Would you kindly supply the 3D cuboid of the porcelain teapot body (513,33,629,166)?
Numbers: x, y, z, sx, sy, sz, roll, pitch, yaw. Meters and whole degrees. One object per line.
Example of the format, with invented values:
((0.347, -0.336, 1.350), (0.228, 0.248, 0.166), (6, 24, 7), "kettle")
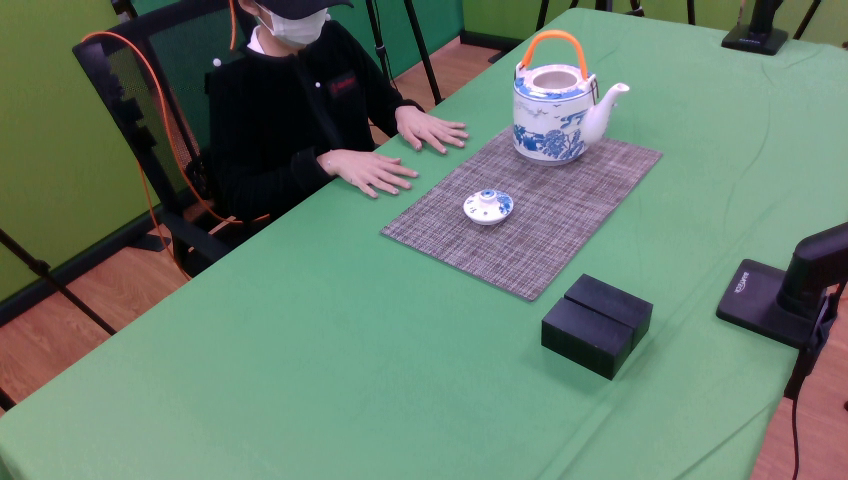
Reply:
((0.256, -0.248, 1.065), (0.204, 0.226, 0.145), (18, 47, 28), "porcelain teapot body")

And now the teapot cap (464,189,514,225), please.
((0.108, -0.061, 1.009), (0.085, 0.044, 0.085), (-2, 39, 2), "teapot cap")
